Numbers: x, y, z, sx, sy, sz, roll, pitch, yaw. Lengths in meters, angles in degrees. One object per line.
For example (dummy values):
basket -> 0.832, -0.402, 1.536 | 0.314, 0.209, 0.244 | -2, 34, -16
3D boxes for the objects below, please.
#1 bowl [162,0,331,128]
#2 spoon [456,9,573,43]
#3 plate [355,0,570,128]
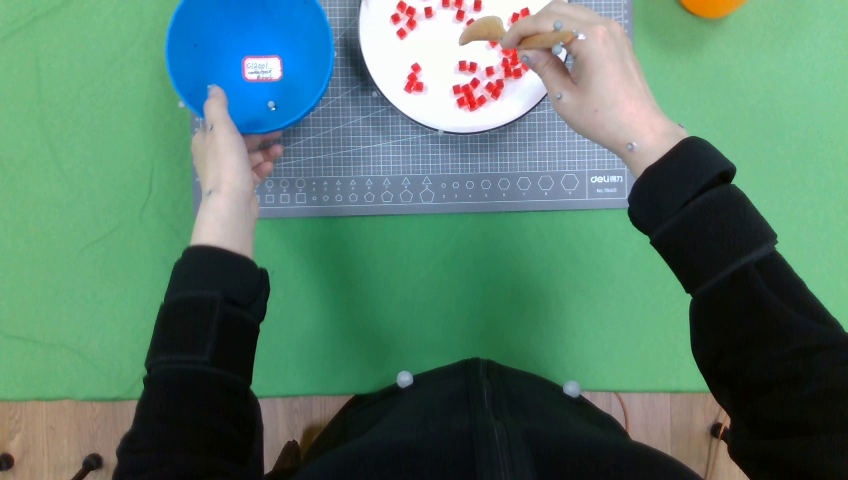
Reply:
bowl -> -0.158, -0.175, 0.575 | 0.151, 0.077, 0.151 | 0, 91, -1
spoon -> 0.068, -0.164, 0.470 | 0.041, 0.192, 0.022 | -31, 119, -4
plate -> 0.037, -0.213, 0.598 | 0.209, 0.038, 0.209 | 0, 90, -1
